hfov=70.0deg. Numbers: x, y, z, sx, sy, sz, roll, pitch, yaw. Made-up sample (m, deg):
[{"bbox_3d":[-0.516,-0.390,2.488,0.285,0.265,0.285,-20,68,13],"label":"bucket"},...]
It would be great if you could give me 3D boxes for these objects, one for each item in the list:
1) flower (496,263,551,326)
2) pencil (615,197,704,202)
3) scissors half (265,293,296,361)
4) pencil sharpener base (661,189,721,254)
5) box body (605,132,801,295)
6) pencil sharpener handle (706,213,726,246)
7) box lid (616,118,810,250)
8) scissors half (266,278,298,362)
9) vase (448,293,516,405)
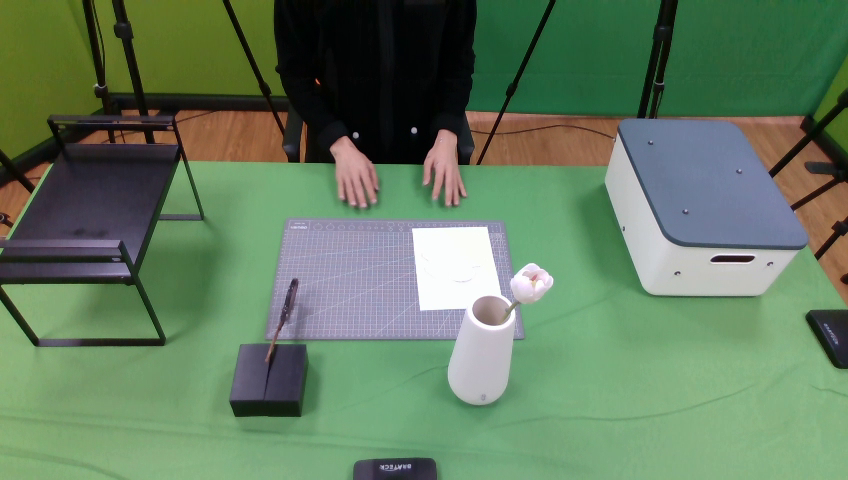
[{"bbox_3d":[0.102,0.120,0.853,0.044,0.363,0.038,-2,64,-10],"label":"flower"},{"bbox_3d":[0.512,-0.090,1.322,0.194,0.012,0.012,1,46,0],"label":"pencil"},{"bbox_3d":[-0.239,0.143,1.005,0.013,0.040,0.174,17,28,-6],"label":"scissors half"},{"bbox_3d":[0.531,-0.034,1.202,0.076,0.107,0.061,30,51,21],"label":"pencil sharpener base"},{"bbox_3d":[0.529,-0.068,1.205,0.254,0.161,0.361,1,46,-4],"label":"box body"},{"bbox_3d":[0.572,-0.019,1.174,0.030,0.068,0.036,30,48,21],"label":"pencil sharpener handle"},{"bbox_3d":[0.533,-0.118,1.151,0.263,0.015,0.369,1,45,-4],"label":"box lid"},{"bbox_3d":[-0.234,0.127,0.993,0.013,0.040,0.174,12,46,-3],"label":"scissors half"},{"bbox_3d":[0.091,0.169,0.921,0.098,0.201,0.097,3,47,-3],"label":"vase"}]
